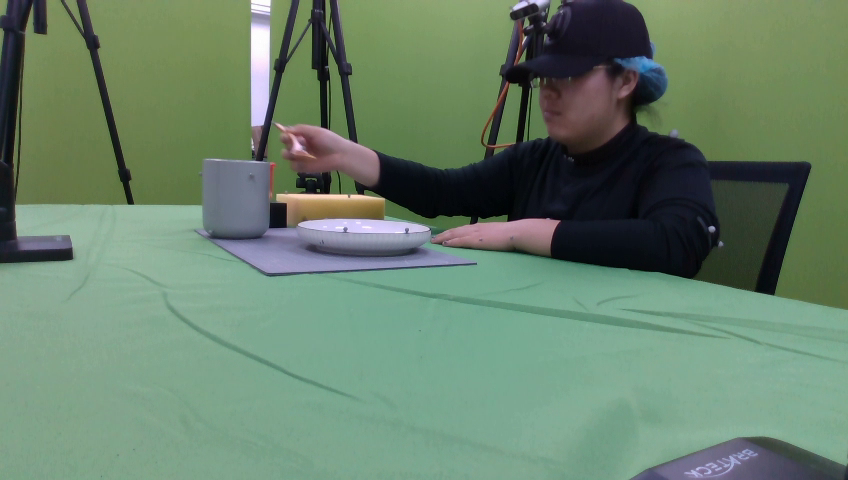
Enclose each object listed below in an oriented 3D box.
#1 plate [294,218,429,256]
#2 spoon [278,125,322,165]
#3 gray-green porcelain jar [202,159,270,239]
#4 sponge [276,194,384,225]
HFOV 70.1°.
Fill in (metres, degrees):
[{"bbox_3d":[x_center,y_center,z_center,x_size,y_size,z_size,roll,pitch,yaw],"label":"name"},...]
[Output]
[{"bbox_3d":[-0.096,-0.005,0.936,0.208,0.039,0.207,3,7,0],"label":"plate"},{"bbox_3d":[-0.218,-0.166,1.037,0.042,0.021,0.193,10,24,-34],"label":"spoon"},{"bbox_3d":[-0.310,-0.068,0.999,0.106,0.126,0.106,3,8,0],"label":"gray-green porcelain jar"},{"bbox_3d":[-0.203,-0.066,1.312,0.208,0.061,0.117,-3,9,-35],"label":"sponge"}]
